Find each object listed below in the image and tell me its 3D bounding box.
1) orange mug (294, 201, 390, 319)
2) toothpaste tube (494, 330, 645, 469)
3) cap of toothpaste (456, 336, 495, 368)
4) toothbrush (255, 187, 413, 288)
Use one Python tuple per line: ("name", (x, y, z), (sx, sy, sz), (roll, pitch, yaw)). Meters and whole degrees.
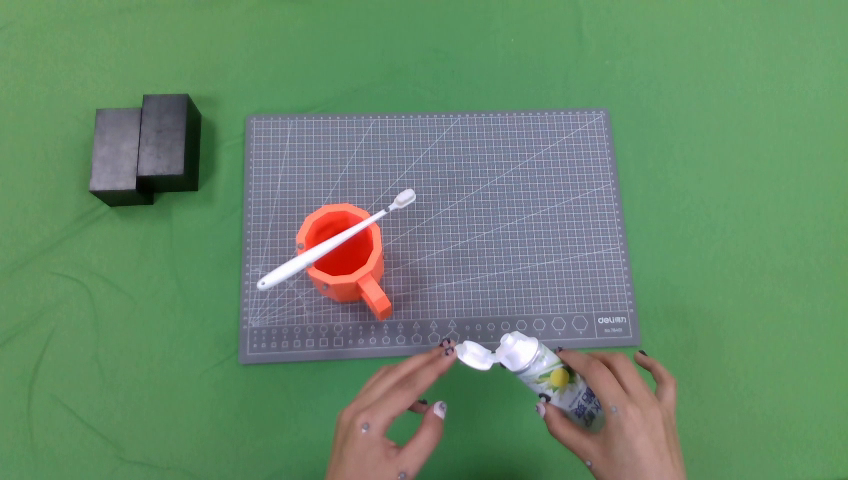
("orange mug", (-0.079, 0.027, 0.648), (0.083, 0.101, 0.125), (-36, 74, -12))
("toothpaste tube", (0.123, 0.133, 0.522), (0.166, 0.034, 0.055), (40, 84, -14))
("cap of toothpaste", (0.044, 0.093, 0.506), (0.037, 0.037, 0.011), (27, 110, 4))
("toothbrush", (-0.087, -0.004, 0.602), (0.182, 0.017, 0.014), (-32, 84, -11))
